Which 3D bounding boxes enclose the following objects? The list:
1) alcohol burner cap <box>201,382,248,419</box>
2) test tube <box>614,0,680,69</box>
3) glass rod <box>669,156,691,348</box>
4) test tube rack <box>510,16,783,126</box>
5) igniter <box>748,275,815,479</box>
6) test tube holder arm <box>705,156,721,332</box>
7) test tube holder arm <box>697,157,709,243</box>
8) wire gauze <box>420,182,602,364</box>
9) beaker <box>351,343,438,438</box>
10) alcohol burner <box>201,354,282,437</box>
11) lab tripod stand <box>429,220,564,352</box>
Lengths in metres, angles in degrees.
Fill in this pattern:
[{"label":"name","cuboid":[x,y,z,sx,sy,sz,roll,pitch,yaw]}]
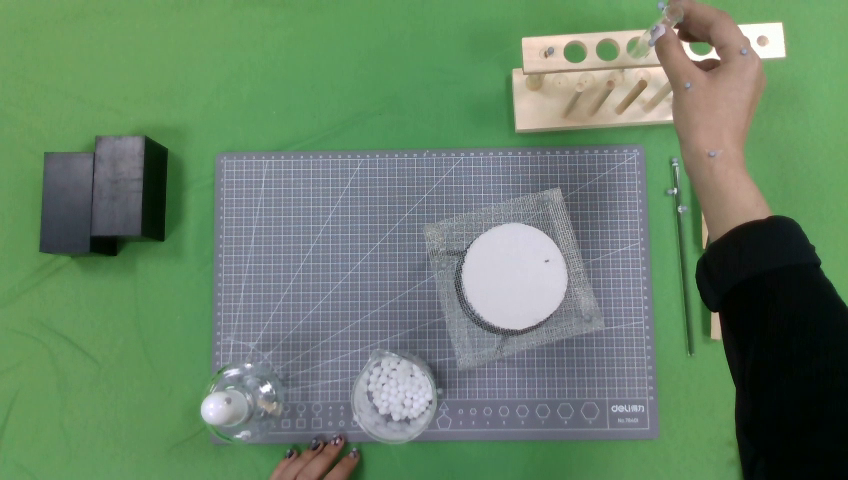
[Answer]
[{"label":"alcohol burner cap","cuboid":[-0.176,0.140,0.527,0.034,0.048,0.033,0,75,0]},{"label":"test tube","cuboid":[0.198,-0.183,0.550,0.017,0.150,0.017,0,89,3]},{"label":"glass rod","cuboid":[0.262,0.011,0.623,0.008,0.008,0.199,-2,84,1]},{"label":"test tube rack","cuboid":[0.212,-0.164,0.601,0.242,0.085,0.066,-3,84,1]},{"label":"igniter","cuboid":[0.351,0.172,0.598,0.057,0.025,0.276,11,85,-8]},{"label":"test tube holder arm","cuboid":[0.293,0.004,0.616,0.013,0.015,0.178,-5,84,35]},{"label":"test tube holder arm","cuboid":[0.288,-0.041,0.623,0.010,0.015,0.087,-3,85,35]},{"label":"wire gauze","cuboid":[0.069,0.026,0.492,0.121,0.011,0.124,-16,85,1]},{"label":"beaker","cuboid":[-0.026,0.134,0.569,0.074,0.100,0.083,-23,84,-1]},{"label":"alcohol burner","cuboid":[-0.175,0.145,0.563,0.078,0.119,0.077,0,82,2]},{"label":"lab tripod stand","cuboid":[0.067,0.035,0.559,0.148,0.132,0.148,0,85,3]}]
